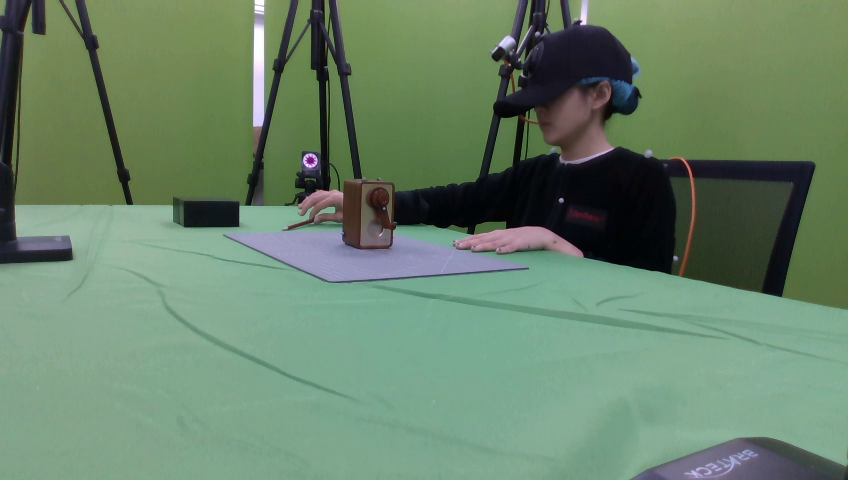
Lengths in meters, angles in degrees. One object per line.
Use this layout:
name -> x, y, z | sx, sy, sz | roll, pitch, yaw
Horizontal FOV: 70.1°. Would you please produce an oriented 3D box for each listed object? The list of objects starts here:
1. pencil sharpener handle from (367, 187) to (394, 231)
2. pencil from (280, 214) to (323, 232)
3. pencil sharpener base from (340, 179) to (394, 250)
pencil sharpener handle -> -0.061, -0.046, 0.916 | 0.036, 0.068, 0.030 | -19, 17, -26
pencil -> -0.245, -0.033, 1.222 | 0.012, 0.012, 0.194 | 5, 12, 13
pencil sharpener base -> -0.091, -0.041, 0.959 | 0.061, 0.107, 0.076 | -1, 9, -30
